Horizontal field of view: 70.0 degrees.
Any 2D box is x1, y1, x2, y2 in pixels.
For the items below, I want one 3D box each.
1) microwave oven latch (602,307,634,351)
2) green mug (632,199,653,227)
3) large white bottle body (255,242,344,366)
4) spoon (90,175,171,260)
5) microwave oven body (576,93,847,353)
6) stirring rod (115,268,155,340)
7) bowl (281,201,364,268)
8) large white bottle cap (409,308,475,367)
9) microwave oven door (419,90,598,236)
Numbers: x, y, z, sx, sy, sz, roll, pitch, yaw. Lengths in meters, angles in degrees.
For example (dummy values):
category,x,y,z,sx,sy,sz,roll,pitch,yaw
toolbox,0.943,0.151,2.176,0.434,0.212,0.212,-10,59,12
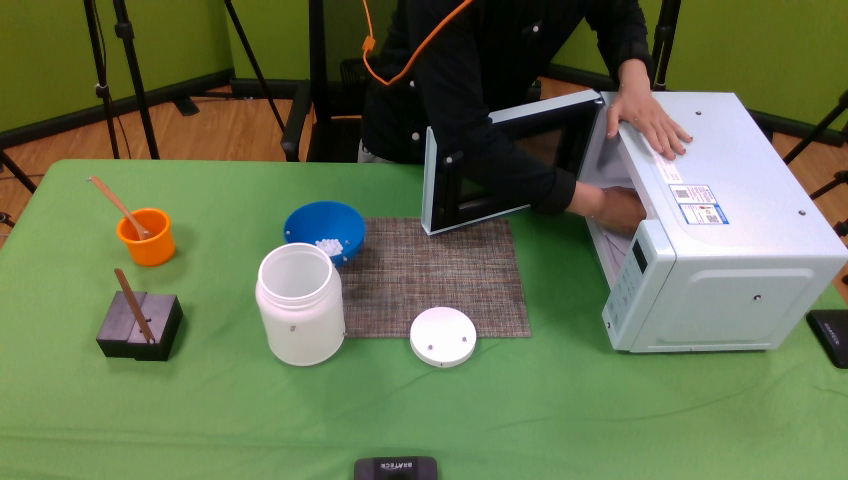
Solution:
category,x,y,z,sx,sy,sz,roll,pitch,yaw
microwave oven latch,0.332,0.153,1.044,0.030,0.029,0.078,0,45,-4
green mug,0.456,-0.056,1.152,0.125,0.105,0.092,-17,45,-10
large white bottle body,-0.196,0.102,0.967,0.131,0.185,0.130,2,49,-2
spoon,-0.538,-0.042,1.111,0.041,0.194,0.021,-45,19,-32
microwave oven body,0.475,-0.041,1.109,0.326,0.261,0.438,-1,45,-4
stirring rod,-0.478,0.103,0.999,0.014,0.006,0.175,7,32,-49
bowl,-0.187,0.005,1.137,0.151,0.077,0.150,3,46,-3
large white bottle cap,0.031,0.166,1.041,0.115,0.018,0.114,2,46,-2
microwave oven door,0.164,-0.150,1.185,0.356,0.245,0.039,-17,49,-19
